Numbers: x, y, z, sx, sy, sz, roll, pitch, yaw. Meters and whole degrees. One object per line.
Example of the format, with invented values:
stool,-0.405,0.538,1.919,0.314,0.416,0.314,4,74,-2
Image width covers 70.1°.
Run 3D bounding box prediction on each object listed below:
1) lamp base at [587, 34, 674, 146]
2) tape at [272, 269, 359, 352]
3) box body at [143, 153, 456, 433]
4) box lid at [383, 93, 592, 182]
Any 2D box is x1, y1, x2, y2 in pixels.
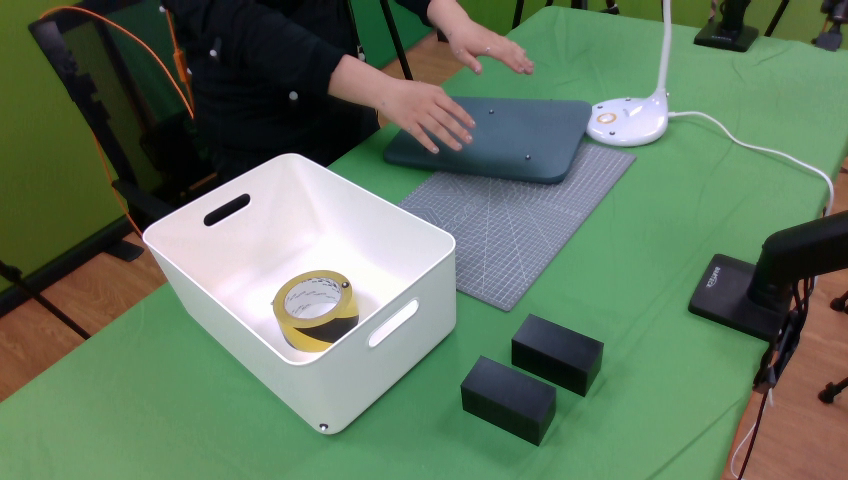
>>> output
lamp base,0.392,-0.291,1.129,0.180,0.181,0.159,-11,41,-8
tape,-0.149,0.097,0.843,0.117,0.053,0.116,-4,41,4
box body,-0.158,0.054,0.819,0.361,0.161,0.255,29,52,34
box lid,0.128,-0.211,1.192,0.369,0.015,0.263,9,45,22
